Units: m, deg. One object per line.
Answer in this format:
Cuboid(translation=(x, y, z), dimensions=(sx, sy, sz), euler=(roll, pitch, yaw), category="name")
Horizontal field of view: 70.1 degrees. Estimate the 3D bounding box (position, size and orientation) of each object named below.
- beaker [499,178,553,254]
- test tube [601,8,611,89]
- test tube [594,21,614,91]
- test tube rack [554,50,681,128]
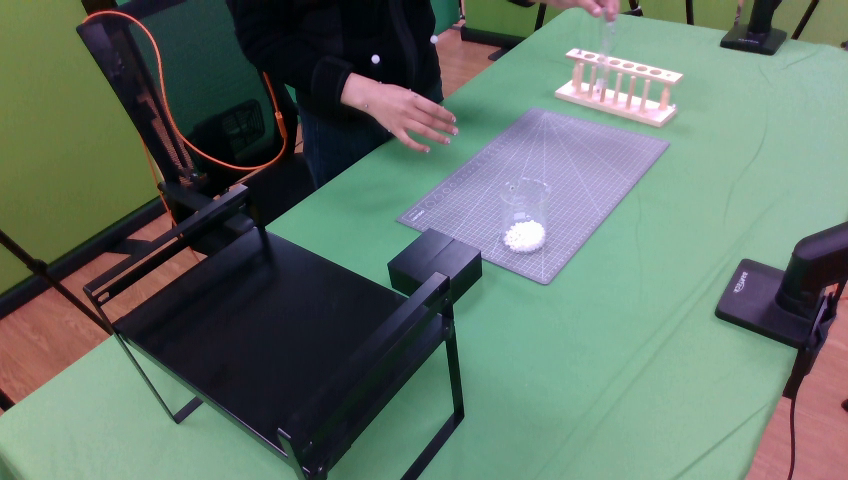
Cuboid(translation=(0.158, -0.036, 0.929), dimensions=(0.084, 0.100, 0.073), euler=(-16, 41, -12), category="beaker")
Cuboid(translation=(0.331, -0.346, 1.101), dimensions=(0.017, 0.151, 0.017), euler=(-8, 38, 6), category="test tube")
Cuboid(translation=(0.367, -0.372, 1.234), dimensions=(0.017, 0.151, 0.017), euler=(-1, 42, 1), category="test tube")
Cuboid(translation=(0.388, -0.311, 1.234), dimensions=(0.240, 0.085, 0.067), euler=(28, 52, 34), category="test tube rack")
